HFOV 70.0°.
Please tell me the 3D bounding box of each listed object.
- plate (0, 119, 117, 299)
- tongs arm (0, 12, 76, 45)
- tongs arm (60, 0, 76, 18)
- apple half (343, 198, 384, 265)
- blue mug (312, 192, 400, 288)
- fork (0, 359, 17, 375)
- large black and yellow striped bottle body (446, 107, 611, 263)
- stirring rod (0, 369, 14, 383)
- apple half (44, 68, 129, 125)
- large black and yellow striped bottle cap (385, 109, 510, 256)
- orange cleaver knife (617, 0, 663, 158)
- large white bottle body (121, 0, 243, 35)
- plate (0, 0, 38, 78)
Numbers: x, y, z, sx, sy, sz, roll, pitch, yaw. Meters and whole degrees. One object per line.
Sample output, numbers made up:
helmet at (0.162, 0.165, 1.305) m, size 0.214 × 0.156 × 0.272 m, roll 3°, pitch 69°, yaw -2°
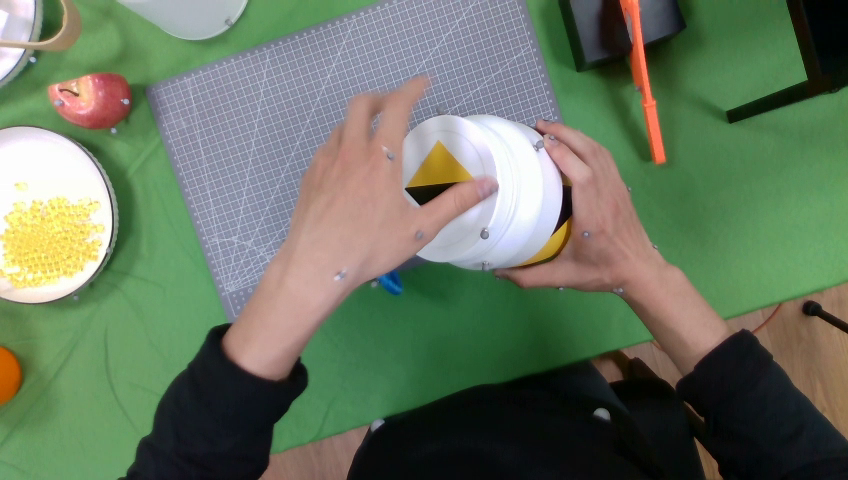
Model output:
plate at (-0.460, -0.035, 0.714) m, size 0.209 × 0.038 × 0.209 m, roll 0°, pitch 95°, yaw 3°
tongs arm at (-0.577, -0.254, 0.670) m, size 0.384 × 0.026 × 0.051 m, roll 10°, pitch 91°, yaw 4°
tongs arm at (-0.556, -0.334, 0.664) m, size 0.387 × 0.028 × 0.028 m, roll 24°, pitch 88°, yaw 2°
apple half at (-0.059, -0.007, 0.658) m, size 0.032 × 0.081 × 0.081 m, roll 12°, pitch 95°, yaw 9°
blue mug at (-0.061, 0.003, 0.665) m, size 0.082 × 0.106 × 0.116 m, roll -34°, pitch 92°, yaw 5°
fork at (-0.581, 0.161, 0.678) m, size 0.208 × 0.018 × 0.028 m, roll -4°, pitch 94°, yaw -41°
large black and yellow striped bottle body at (0.070, -0.046, 0.539) m, size 0.130 × 0.185 × 0.130 m, roll 1°, pitch 92°, yaw 41°
stirring rod at (-0.567, 0.177, 0.682) m, size 0.177 × 0.006 × 0.014 m, roll -13°, pitch 82°, yaw -37°
apple half at (-0.373, -0.157, 0.684) m, size 0.081 × 0.074 × 0.053 m, roll -15°, pitch 97°, yaw 0°
large black and yellow striped bottle cap at (0.015, -0.044, 0.476) m, size 0.114 × 0.019 × 0.115 m, roll 0°, pitch 90°, yaw 40°
orange cleaver knife at (0.229, -0.191, 0.652) m, size 0.012 × 0.076 × 0.213 m, roll -16°, pitch 120°, yaw 12°
large white bottle body at (-0.271, -0.297, 0.613) m, size 0.130 × 0.184 × 0.130 m, roll 0°, pitch 93°, yaw 3°
plate at (-0.542, -0.275, 0.698) m, size 0.207 × 0.039 × 0.208 m, roll 0°, pitch 95°, yaw 2°
